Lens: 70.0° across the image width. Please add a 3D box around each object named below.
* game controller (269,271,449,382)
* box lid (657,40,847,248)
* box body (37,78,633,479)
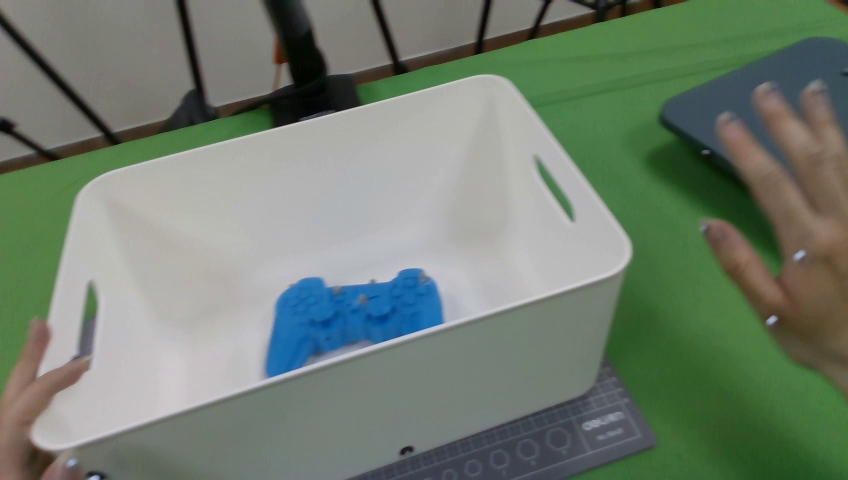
[{"bbox_3d":[-0.055,0.070,0.523,0.155,0.052,0.096,-4,40,5],"label":"game controller"},{"bbox_3d":[0.437,-0.083,0.571,0.263,0.015,0.367,-25,46,-15],"label":"box lid"},{"bbox_3d":[-0.061,0.039,0.482,0.364,0.162,0.251,-16,45,-7],"label":"box body"}]
